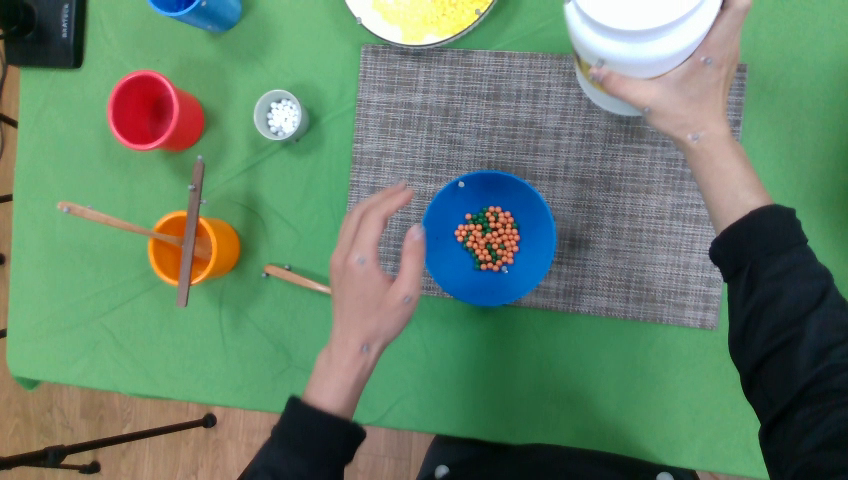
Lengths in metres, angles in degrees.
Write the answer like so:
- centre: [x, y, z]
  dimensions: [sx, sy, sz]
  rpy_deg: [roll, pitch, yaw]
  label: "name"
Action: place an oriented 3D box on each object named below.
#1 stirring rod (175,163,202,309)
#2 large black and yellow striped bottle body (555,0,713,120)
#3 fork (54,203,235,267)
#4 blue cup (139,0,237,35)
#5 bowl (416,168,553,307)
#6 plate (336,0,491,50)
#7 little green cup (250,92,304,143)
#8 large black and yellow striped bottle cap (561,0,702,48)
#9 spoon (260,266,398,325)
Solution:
- centre: [-0.281, -0.004, 0.722]
  dimensions: [0.014, 0.006, 0.176]
  rpy_deg: [8, 93, 8]
  label: "stirring rod"
- centre: [0.192, -0.201, 0.560]
  dimensions: [0.130, 0.185, 0.130]
  rpy_deg: [-3, 82, 19]
  label: "large black and yellow striped bottle body"
- centre: [-0.332, -0.006, 0.734]
  dimensions: [0.209, 0.018, 0.028]
  rpy_deg: [21, 99, -34]
  label: "fork"
- centre: [-0.281, -0.296, 0.741]
  dimensions: [0.092, 0.100, 0.092]
  rpy_deg: [0, 91, 12]
  label: "blue cup"
- centre: [0.071, -0.002, 0.695]
  dimensions: [0.151, 0.077, 0.151]
  rpy_deg: [0, 91, 11]
  label: "bowl"
- centre: [-0.009, -0.329, 0.724]
  dimensions: [0.209, 0.038, 0.209]
  rpy_deg: [0, 92, 10]
  label: "plate"
- centre: [-0.181, -0.151, 0.759]
  dimensions: [0.061, 0.039, 0.061]
  rpy_deg: [0, 92, 11]
  label: "little green cup"
- centre: [0.165, -0.211, 0.481]
  dimensions: [0.114, 0.019, 0.114]
  rpy_deg: [-3, 82, 20]
  label: "large black and yellow striped bottle cap"
- centre: [-0.122, 0.063, 0.763]
  dimensions: [0.193, 0.021, 0.042]
  rpy_deg: [17, 108, 9]
  label: "spoon"
